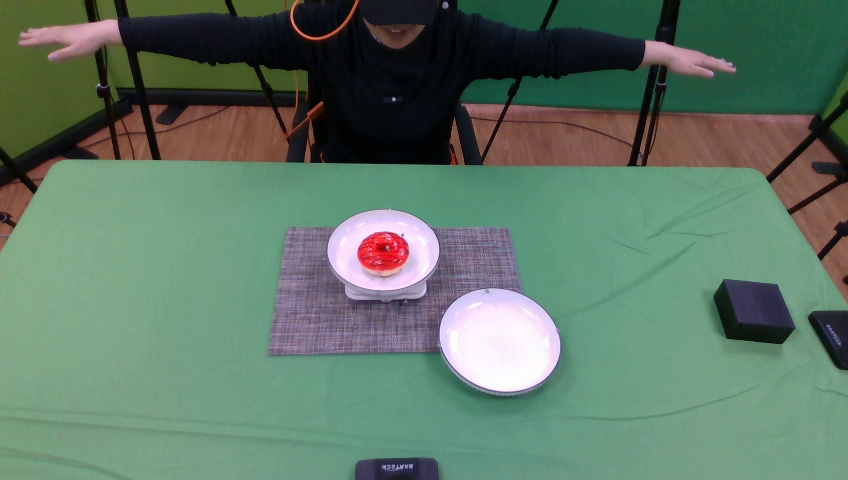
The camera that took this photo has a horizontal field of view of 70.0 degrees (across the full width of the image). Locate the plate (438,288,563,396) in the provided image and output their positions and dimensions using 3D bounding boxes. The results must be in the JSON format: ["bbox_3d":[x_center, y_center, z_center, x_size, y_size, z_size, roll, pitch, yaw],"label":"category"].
[{"bbox_3d":[0.127,0.173,1.025,0.209,0.038,0.208,3,48,-3],"label":"plate"}]

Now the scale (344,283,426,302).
[{"bbox_3d":[-0.075,0.033,1.149,0.149,0.032,0.199,0,46,-5],"label":"scale"}]

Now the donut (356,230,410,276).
[{"bbox_3d":[-0.073,0.022,1.097,0.099,0.048,0.098,0,45,0],"label":"donut"}]

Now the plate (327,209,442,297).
[{"bbox_3d":[-0.072,0.027,1.109,0.208,0.039,0.206,2,46,-2],"label":"plate"}]
